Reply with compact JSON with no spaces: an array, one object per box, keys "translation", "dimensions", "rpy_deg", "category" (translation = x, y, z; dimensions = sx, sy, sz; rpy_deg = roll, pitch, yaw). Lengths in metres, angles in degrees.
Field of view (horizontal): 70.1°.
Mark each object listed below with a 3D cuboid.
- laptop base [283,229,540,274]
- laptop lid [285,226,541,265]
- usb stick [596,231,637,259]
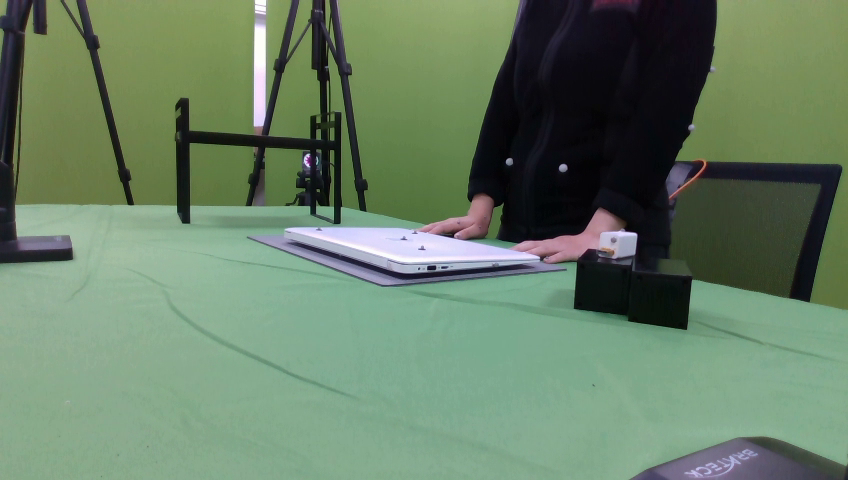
[{"translation":[-0.033,0.014,0.896],"dimensions":[0.237,0.023,0.352],"rpy_deg":[1,7,-37],"category":"laptop base"},{"translation":[-0.031,0.002,0.896],"dimensions":[0.243,0.013,0.355],"rpy_deg":[0,8,-35],"category":"laptop lid"},{"translation":[0.197,0.005,0.625],"dimensions":[0.021,0.027,0.059],"rpy_deg":[10,13,42],"category":"usb stick"}]
